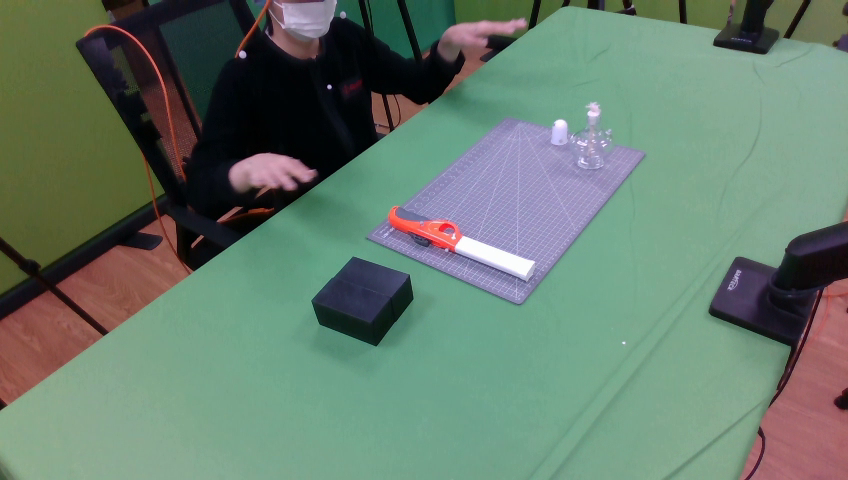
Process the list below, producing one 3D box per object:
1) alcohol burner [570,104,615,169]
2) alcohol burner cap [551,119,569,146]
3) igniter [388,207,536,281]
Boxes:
[{"bbox_3d":[0.299,-0.186,1.071,0.078,0.119,0.077,-6,41,6],"label":"alcohol burner"},{"bbox_3d":[0.261,-0.208,1.156,0.034,0.048,0.033,-5,41,5],"label":"alcohol burner cap"},{"bbox_3d":[0.049,0.001,0.954,0.274,0.025,0.057,22,59,31],"label":"igniter"}]
